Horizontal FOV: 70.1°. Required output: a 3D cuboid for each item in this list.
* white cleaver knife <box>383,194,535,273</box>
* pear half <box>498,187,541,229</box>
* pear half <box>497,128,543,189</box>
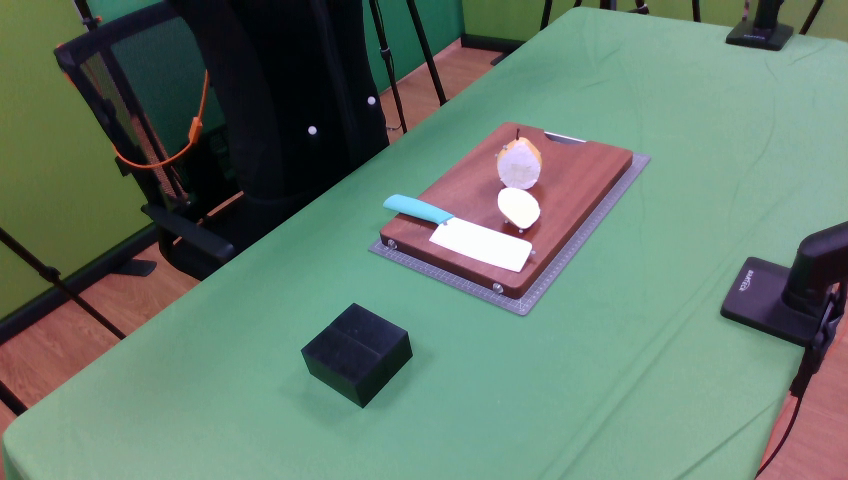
[{"bbox_3d":[0.043,-0.016,0.953,0.284,0.022,0.066,21,59,33],"label":"white cleaver knife"},{"bbox_3d":[0.149,-0.045,0.957,0.070,0.031,0.087,4,53,-9],"label":"pear half"},{"bbox_3d":[0.162,-0.145,1.014,0.076,0.110,0.056,2,41,8],"label":"pear half"}]
